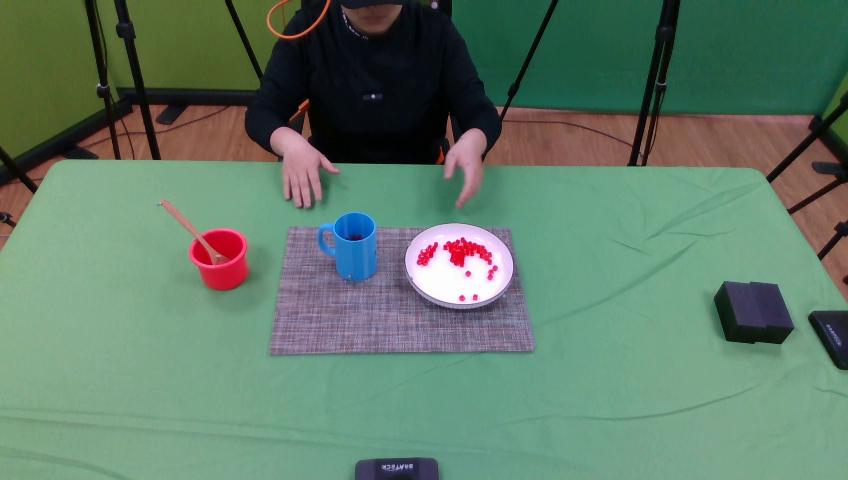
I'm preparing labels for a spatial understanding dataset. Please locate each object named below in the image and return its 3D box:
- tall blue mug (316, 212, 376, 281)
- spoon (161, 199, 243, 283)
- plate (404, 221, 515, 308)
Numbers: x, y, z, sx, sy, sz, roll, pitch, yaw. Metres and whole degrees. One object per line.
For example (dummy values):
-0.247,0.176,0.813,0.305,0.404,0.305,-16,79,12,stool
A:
-0.142,0.014,1.109,0.107,0.108,0.077,-5,47,-8,tall blue mug
-0.397,0.001,1.083,0.194,0.021,0.041,53,56,-15,spoon
0.065,0.049,1.140,0.208,0.039,0.206,2,46,-2,plate
